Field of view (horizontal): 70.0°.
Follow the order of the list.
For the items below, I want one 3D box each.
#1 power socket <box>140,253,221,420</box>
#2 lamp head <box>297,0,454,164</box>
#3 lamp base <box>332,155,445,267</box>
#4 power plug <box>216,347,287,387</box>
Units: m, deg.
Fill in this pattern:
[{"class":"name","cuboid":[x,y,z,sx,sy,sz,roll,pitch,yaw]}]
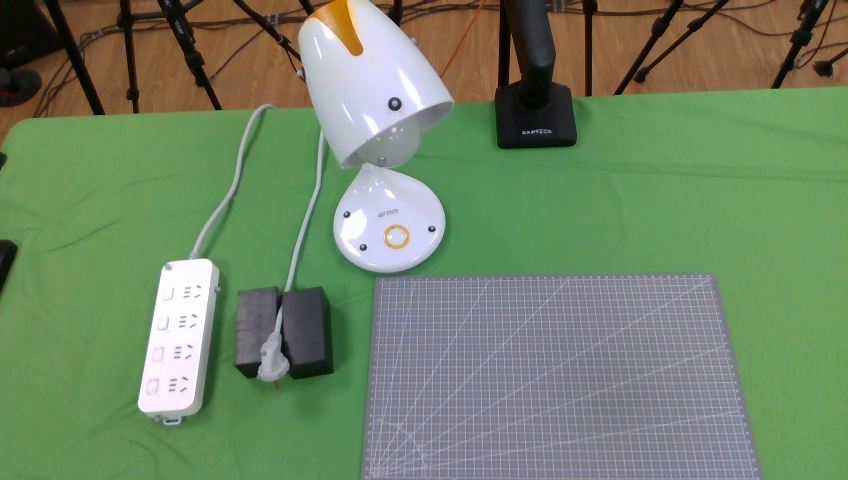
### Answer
[{"class":"power socket","cuboid":[-0.313,0.117,0.789,0.072,0.033,0.224,-4,60,1]},{"class":"lamp head","cuboid":[-0.050,-0.140,0.509,0.112,0.112,0.122,-29,86,-12]},{"class":"lamp base","cuboid":[-0.063,-0.080,0.798,0.161,0.182,0.177,-27,59,-11]},{"class":"power plug","cuboid":[-0.196,0.153,0.707,0.072,0.053,0.035,-19,16,-1]}]
